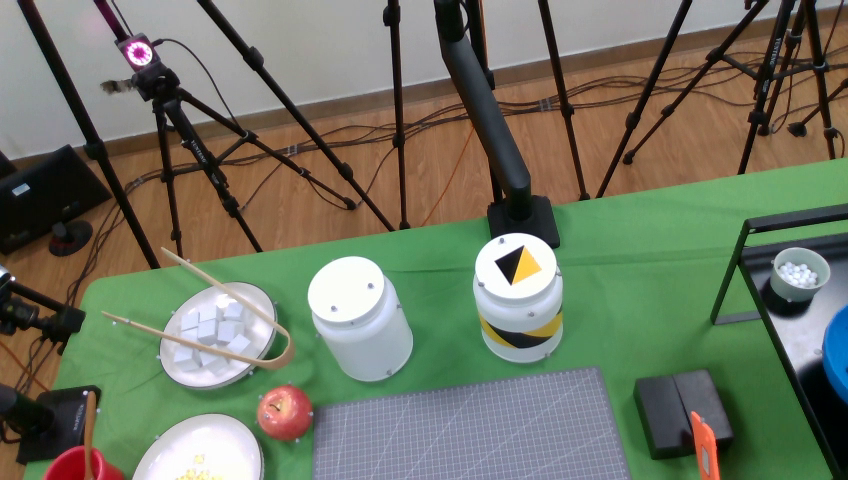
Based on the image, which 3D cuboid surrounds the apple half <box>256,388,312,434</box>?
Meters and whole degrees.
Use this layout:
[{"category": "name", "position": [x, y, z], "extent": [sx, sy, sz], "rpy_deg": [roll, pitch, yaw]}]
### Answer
[{"category": "apple half", "position": [-0.210, 0.268, 0.926], "extent": [0.081, 0.075, 0.053], "rpy_deg": [-19, 56, -7]}]

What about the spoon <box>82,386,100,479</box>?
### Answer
[{"category": "spoon", "position": [-0.501, 0.313, 0.907], "extent": [0.041, 0.021, 0.194], "rpy_deg": [8, 100, 17]}]

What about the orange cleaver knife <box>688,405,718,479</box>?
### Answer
[{"category": "orange cleaver knife", "position": [0.361, 0.317, 0.760], "extent": [0.012, 0.077, 0.210], "rpy_deg": [-9, 83, 4]}]

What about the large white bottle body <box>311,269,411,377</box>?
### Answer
[{"category": "large white bottle body", "position": [-0.099, 0.118, 0.945], "extent": [0.130, 0.186, 0.129], "rpy_deg": [-6, 52, 8]}]

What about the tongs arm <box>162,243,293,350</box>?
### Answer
[{"category": "tongs arm", "position": [-0.357, 0.089, 1.075], "extent": [0.384, 0.028, 0.028], "rpy_deg": [27, 56, 31]}]

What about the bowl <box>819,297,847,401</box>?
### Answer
[{"category": "bowl", "position": [0.496, 0.136, 0.645], "extent": [0.151, 0.077, 0.150], "rpy_deg": [-6, 53, 8]}]

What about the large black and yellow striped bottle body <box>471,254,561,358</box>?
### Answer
[{"category": "large black and yellow striped bottle body", "position": [0.142, 0.085, 0.920], "extent": [0.130, 0.186, 0.129], "rpy_deg": [-6, 52, 8]}]

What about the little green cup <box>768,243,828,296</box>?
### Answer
[{"category": "little green cup", "position": [0.460, 0.039, 0.749], "extent": [0.061, 0.039, 0.061], "rpy_deg": [-6, 53, 9]}]

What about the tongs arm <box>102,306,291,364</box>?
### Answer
[{"category": "tongs arm", "position": [-0.398, 0.150, 1.036], "extent": [0.382, 0.027, 0.050], "rpy_deg": [13, 54, 23]}]

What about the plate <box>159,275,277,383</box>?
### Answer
[{"category": "plate", "position": [-0.355, 0.157, 1.063], "extent": [0.207, 0.039, 0.205], "rpy_deg": [-6, 53, 8]}]

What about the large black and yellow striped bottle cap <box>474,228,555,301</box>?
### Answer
[{"category": "large black and yellow striped bottle cap", "position": [0.127, 0.033, 0.855], "extent": [0.115, 0.019, 0.114], "rpy_deg": [-5, 54, 7]}]

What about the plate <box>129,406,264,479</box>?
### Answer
[{"category": "plate", "position": [-0.337, 0.354, 0.909], "extent": [0.209, 0.038, 0.207], "rpy_deg": [-6, 53, 8]}]

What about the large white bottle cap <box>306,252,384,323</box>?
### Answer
[{"category": "large white bottle cap", "position": [-0.115, 0.067, 0.877], "extent": [0.115, 0.018, 0.113], "rpy_deg": [-6, 52, 8]}]

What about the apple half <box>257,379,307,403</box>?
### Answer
[{"category": "apple half", "position": [-0.222, 0.240, 0.948], "extent": [0.081, 0.082, 0.032], "rpy_deg": [-21, 57, -4]}]
